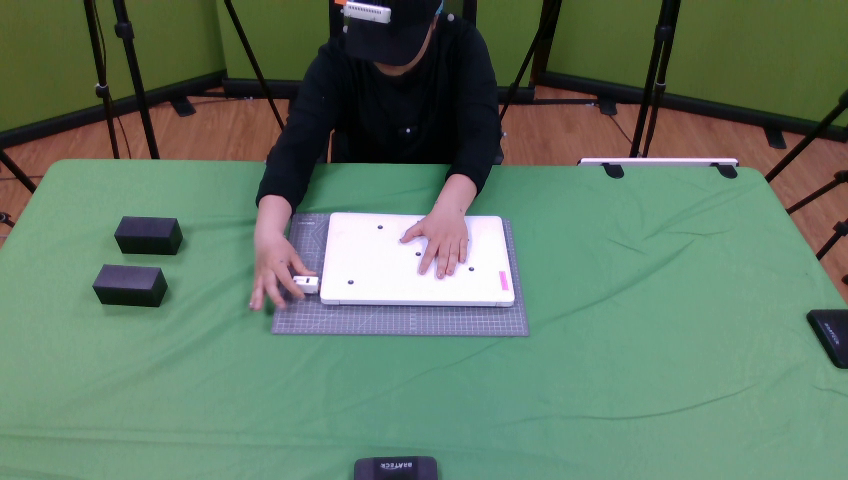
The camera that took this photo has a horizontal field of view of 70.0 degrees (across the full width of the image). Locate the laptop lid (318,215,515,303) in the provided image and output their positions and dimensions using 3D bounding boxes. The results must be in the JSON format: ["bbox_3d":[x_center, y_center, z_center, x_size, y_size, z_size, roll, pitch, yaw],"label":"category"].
[{"bbox_3d":[-0.014,0.030,1.157,0.357,0.013,0.240,3,42,-2],"label":"laptop lid"}]

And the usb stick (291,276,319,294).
[{"bbox_3d":[-0.207,0.081,1.087,0.059,0.027,0.021,7,49,-4],"label":"usb stick"}]

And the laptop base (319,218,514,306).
[{"bbox_3d":[-0.015,0.038,1.162,0.354,0.023,0.234,1,42,-3],"label":"laptop base"}]
